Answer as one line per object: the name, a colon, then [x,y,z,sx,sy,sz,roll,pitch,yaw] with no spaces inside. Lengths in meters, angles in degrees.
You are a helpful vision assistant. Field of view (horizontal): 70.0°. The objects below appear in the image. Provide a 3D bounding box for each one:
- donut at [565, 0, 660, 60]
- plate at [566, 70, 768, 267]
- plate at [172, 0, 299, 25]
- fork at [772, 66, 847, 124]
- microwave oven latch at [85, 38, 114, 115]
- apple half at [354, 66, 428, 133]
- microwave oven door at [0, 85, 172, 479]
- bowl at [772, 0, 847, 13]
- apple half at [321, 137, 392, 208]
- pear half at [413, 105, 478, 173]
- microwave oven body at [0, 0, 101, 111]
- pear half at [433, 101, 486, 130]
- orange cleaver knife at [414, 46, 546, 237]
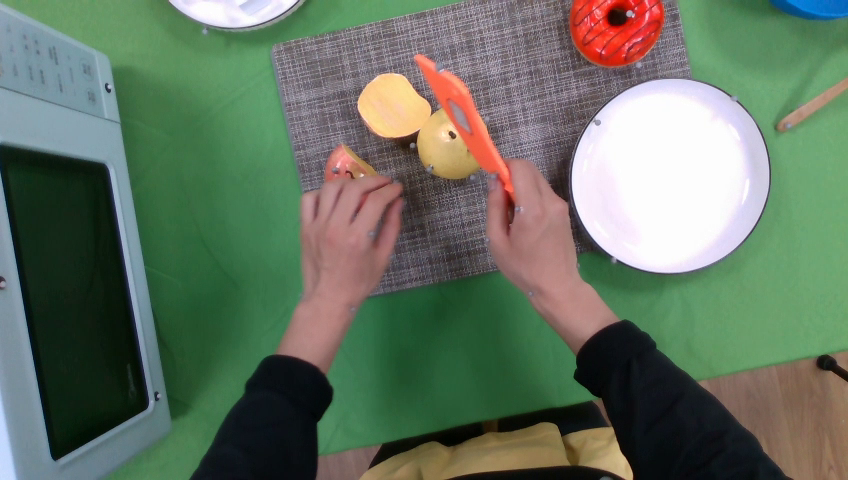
donut: [0.199,-0.242,0.646,0.099,0.048,0.099,0,94,6]
plate: [0.257,-0.075,0.654,0.209,0.038,0.209,0,93,3]
plate: [-0.205,-0.339,0.670,0.207,0.039,0.207,0,93,3]
fork: [0.454,-0.188,0.618,0.207,0.018,0.028,-40,97,24]
microwave oven latch: [-0.367,-0.178,0.667,0.030,0.029,0.079,-8,93,3]
apple half: [-0.040,-0.147,0.665,0.081,0.033,0.081,4,73,-11]
microwave oven door: [-0.341,0.043,0.575,0.039,0.244,0.356,-9,92,4]
bowl: [0.396,-0.300,0.620,0.151,0.077,0.151,0,93,3]
apple half: [-0.079,-0.065,0.655,0.081,0.074,0.053,42,98,-4]
pear half: [0.019,-0.100,0.630,0.076,0.110,0.056,37,93,5]
microwave oven body: [-0.491,0.023,0.587,0.326,0.260,0.442,-9,93,3]
pear half: [0.043,-0.128,0.637,0.070,0.088,0.031,37,94,7]
orange cleaver knife: [0.054,-0.083,0.545,0.012,0.076,0.213,-40,127,-3]
